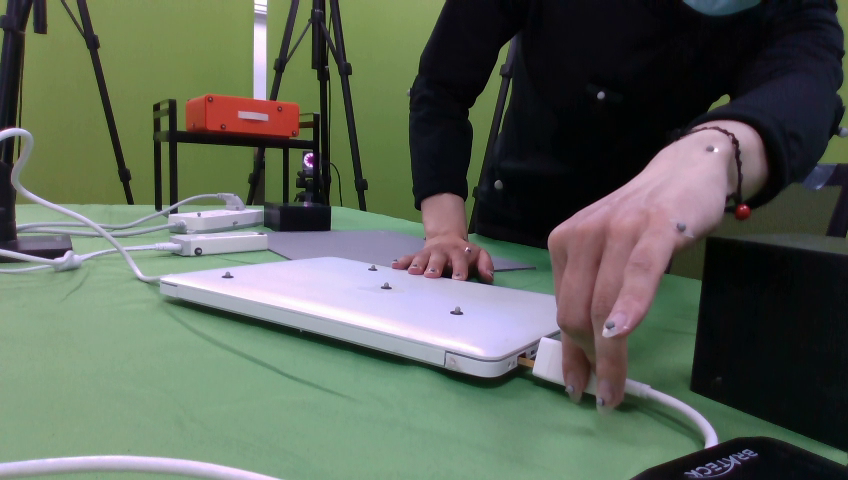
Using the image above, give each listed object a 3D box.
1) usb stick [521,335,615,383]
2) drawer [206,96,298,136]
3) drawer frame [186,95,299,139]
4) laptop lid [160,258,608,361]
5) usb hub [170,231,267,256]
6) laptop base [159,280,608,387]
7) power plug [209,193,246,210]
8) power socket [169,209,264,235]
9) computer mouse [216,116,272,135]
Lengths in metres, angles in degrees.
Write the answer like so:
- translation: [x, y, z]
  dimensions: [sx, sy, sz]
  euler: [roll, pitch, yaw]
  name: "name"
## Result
- translation: [0.088, 0.073, 0.378]
  dimensions: [0.059, 0.027, 0.021]
  euler: [-7, -12, 42]
  name: "usb stick"
- translation: [-0.414, -0.276, 1.375]
  dimensions: [0.195, 0.073, 0.210]
  euler: [-3, 9, -31]
  name: "drawer"
- translation: [-0.417, -0.277, 1.378]
  dimensions: [0.203, 0.082, 0.212]
  euler: [-3, 8, -32]
  name: "drawer frame"
- translation: [-0.037, 0.047, 0.555]
  dimensions: [0.355, 0.013, 0.243]
  euler: [8, 7, 35]
  name: "laptop lid"
- translation: [-0.290, 0.005, 0.862]
  dimensions: [0.049, 0.025, 0.126]
  euler: [10, 11, 42]
  name: "usb hub"
- translation: [-0.038, 0.061, 0.555]
  dimensions: [0.352, 0.023, 0.237]
  euler: [8, 7, 33]
  name: "laptop base"
- translation: [-0.388, -0.067, 1.205]
  dimensions: [0.072, 0.052, 0.035]
  euler: [3, 8, 26]
  name: "power plug"
- translation: [-0.381, -0.038, 1.128]
  dimensions: [0.072, 0.032, 0.227]
  euler: [4, 8, 16]
  name: "power socket"
- translation: [-0.402, -0.258, 1.352]
  dimensions: [0.118, 0.041, 0.062]
  euler: [-6, 15, -35]
  name: "computer mouse"
